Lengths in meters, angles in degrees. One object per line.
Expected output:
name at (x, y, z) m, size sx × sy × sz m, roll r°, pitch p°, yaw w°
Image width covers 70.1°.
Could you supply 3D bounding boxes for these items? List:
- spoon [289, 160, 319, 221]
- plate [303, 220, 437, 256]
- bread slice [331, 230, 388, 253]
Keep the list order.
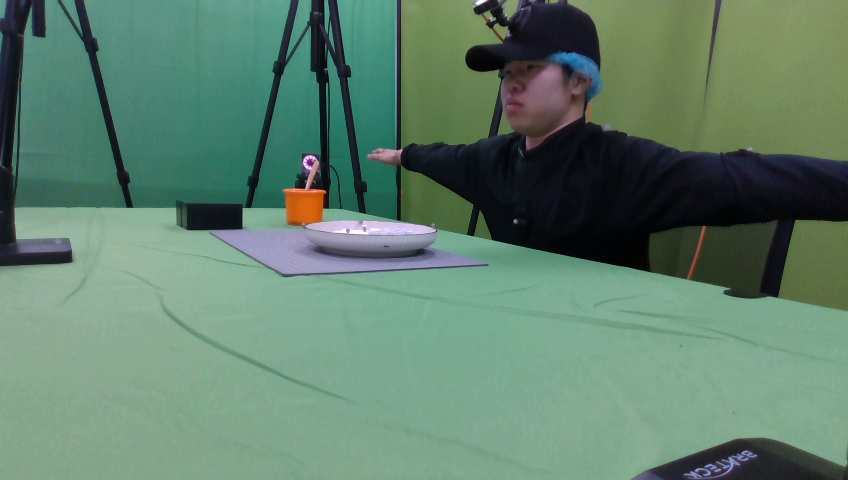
spoon at (-0.259, -0.112, 1.339) m, size 0.041 × 0.193 × 0.022 m, roll 1°, pitch -37°, yaw 11°
plate at (-0.084, -0.003, 0.951) m, size 0.209 × 0.038 × 0.209 m, roll 3°, pitch 7°, yaw 0°
bread slice at (-0.088, 0.000, 0.947) m, size 0.105 × 0.019 × 0.131 m, roll -4°, pitch 11°, yaw -44°
